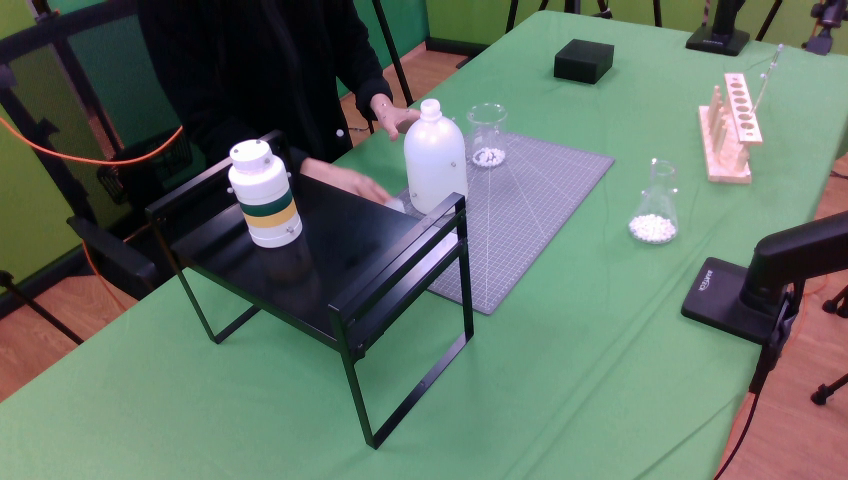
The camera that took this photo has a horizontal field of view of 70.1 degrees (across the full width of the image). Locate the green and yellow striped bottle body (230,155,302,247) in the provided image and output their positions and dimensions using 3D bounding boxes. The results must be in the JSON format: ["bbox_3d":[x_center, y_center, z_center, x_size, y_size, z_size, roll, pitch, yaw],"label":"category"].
[{"bbox_3d":[-0.188,-0.055,0.714,0.063,0.120,0.063,-4,41,4],"label":"green and yellow striped bottle body"}]

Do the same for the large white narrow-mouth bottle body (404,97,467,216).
[{"bbox_3d":[0.019,-0.142,1.004,0.102,0.195,0.101,-3,39,3],"label":"large white narrow-mouth bottle body"}]

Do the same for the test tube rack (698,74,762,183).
[{"bbox_3d":[0.547,-0.208,1.095,0.066,0.085,0.242,5,42,15],"label":"test tube rack"}]

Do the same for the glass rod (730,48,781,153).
[{"bbox_3d":[0.554,-0.228,1.015,0.008,0.200,0.008,1,44,-1],"label":"glass rod"}]

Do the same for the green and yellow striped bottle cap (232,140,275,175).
[{"bbox_3d":[-0.192,-0.093,0.680,0.045,0.020,0.045,-5,39,5],"label":"green and yellow striped bottle cap"}]

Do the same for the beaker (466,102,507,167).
[{"bbox_3d":[0.121,-0.195,1.124,0.084,0.100,0.073,-34,48,-28],"label":"beaker"}]

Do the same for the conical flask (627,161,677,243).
[{"bbox_3d":[0.355,-0.061,0.921,0.075,0.122,0.075,-4,41,4],"label":"conical flask"}]

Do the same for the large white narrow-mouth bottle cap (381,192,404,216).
[{"bbox_3d":[-0.051,-0.058,0.963,0.038,0.024,0.037,-4,39,4],"label":"large white narrow-mouth bottle cap"}]
